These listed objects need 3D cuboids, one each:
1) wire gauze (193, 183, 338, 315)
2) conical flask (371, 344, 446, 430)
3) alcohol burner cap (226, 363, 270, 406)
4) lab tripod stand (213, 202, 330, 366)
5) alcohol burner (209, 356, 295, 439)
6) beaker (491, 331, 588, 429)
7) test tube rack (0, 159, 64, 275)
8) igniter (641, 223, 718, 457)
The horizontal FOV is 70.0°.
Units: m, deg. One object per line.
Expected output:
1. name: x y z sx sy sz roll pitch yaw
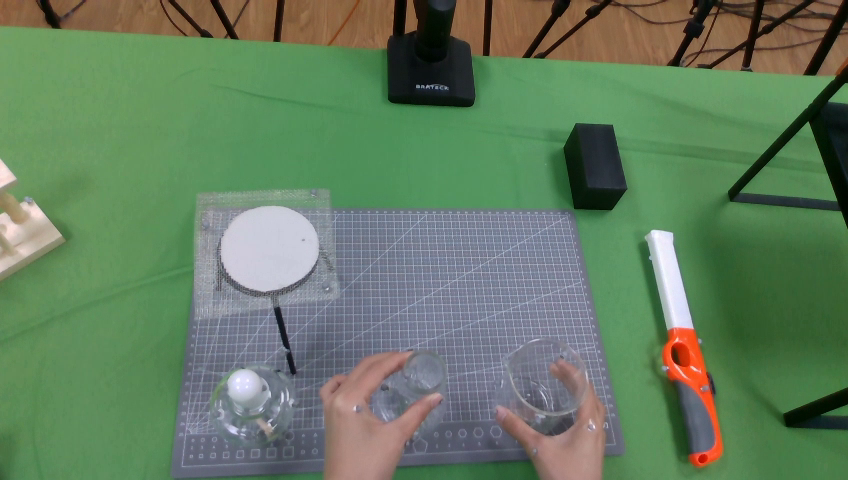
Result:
1. wire gauze: -0.144 0.002 0.544 0.122 0.011 0.124 -5 64 -11
2. conical flask: -0.009 0.129 0.557 0.075 0.122 0.074 4 65 -7
3. alcohol burner cap: -0.154 0.123 0.524 0.034 0.048 0.033 2 65 -3
4. lab tripod stand: -0.148 0.038 0.601 0.149 0.132 0.147 4 62 -8
5. alcohol burner: -0.159 0.139 0.556 0.078 0.120 0.077 5 60 -7
6. beaker: 0.106 0.142 0.600 0.084 0.101 0.073 21 60 6
7. test tube rack: -0.500 0.023 0.589 0.242 0.086 0.066 -39 73 -24
8. igniter: 0.289 0.104 0.691 0.057 0.025 0.274 8 61 -16
